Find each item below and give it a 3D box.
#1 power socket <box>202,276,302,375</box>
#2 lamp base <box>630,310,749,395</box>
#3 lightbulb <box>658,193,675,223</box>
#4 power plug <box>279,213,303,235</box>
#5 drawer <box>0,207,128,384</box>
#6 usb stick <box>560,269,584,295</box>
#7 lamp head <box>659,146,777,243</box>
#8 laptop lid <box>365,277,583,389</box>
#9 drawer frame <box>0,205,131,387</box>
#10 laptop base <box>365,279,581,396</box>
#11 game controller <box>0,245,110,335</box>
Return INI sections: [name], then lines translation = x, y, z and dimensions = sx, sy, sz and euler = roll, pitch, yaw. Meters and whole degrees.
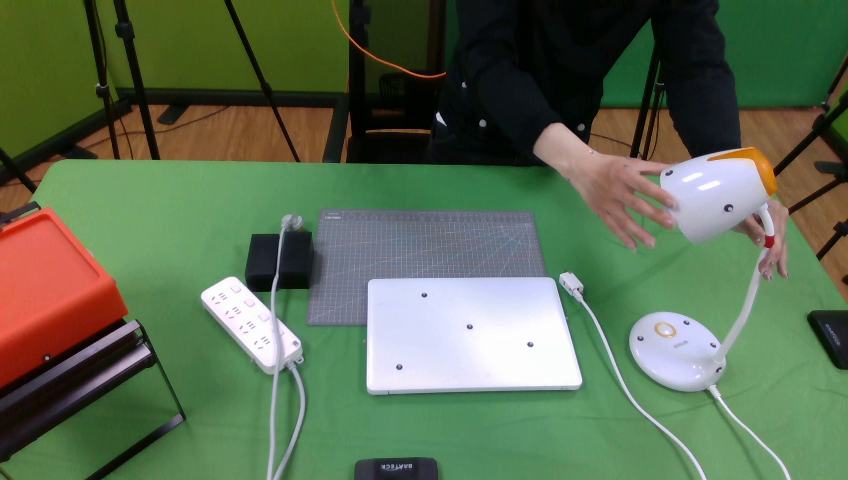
[power socket]
translation = -0.296, 0.142, 1.034
dimensions = 0.072, 0.033, 0.225
euler = -34, 58, -30
[lamp base]
translation = 0.447, 0.142, 0.984
dimensions = 0.161, 0.181, 0.178
euler = -24, 55, -24
[lightbulb]
translation = 0.365, -0.063, 0.811
dimensions = 0.060, 0.108, 0.059
euler = 21, 51, -28
[power plug]
translation = -0.263, -0.022, 1.184
dimensions = 0.035, 0.053, 0.072
euler = 0, 47, 32
[drawer]
translation = -0.540, 0.074, 0.799
dimensions = 0.193, 0.073, 0.211
euler = 37, 55, 27
[usb stick]
translation = 0.274, 0.077, 1.142
dimensions = 0.027, 0.021, 0.059
euler = -11, 39, -14
[lamp head]
translation = 0.388, -0.063, 0.786
dimensions = 0.123, 0.113, 0.112
euler = -22, 32, 37
[laptop lid]
translation = 0.077, 0.152, 1.046
dimensions = 0.357, 0.013, 0.240
euler = 1, 45, -3
[drawer frame]
translation = -0.540, 0.075, 0.795
dimensions = 0.200, 0.083, 0.213
euler = 36, 55, 26
[laptop base]
translation = 0.077, 0.162, 1.053
dimensions = 0.355, 0.023, 0.234
euler = 0, 44, -4
[game controller]
translation = -0.511, 0.062, 0.830
dimensions = 0.097, 0.052, 0.154
euler = -30, 58, -31
